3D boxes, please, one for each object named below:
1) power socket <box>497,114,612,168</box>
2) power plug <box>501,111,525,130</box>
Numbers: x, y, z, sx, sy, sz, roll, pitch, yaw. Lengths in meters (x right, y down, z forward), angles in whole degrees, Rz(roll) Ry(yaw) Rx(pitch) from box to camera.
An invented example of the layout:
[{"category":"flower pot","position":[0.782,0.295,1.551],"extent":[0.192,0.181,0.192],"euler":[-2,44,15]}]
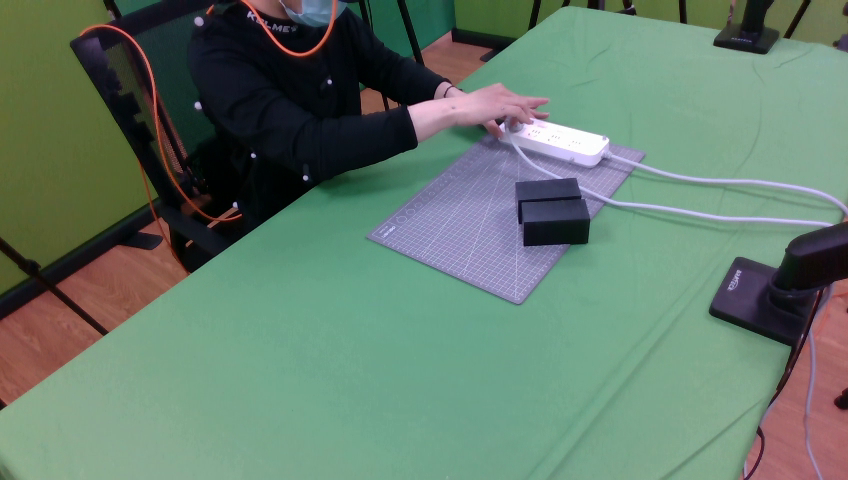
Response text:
[{"category":"power socket","position":[0.241,-0.191,1.143],"extent":[0.225,0.033,0.072],"euler":[24,50,31]},{"category":"power plug","position":[0.161,-0.216,1.147],"extent":[0.073,0.053,0.035],"euler":[-34,46,-29]}]
